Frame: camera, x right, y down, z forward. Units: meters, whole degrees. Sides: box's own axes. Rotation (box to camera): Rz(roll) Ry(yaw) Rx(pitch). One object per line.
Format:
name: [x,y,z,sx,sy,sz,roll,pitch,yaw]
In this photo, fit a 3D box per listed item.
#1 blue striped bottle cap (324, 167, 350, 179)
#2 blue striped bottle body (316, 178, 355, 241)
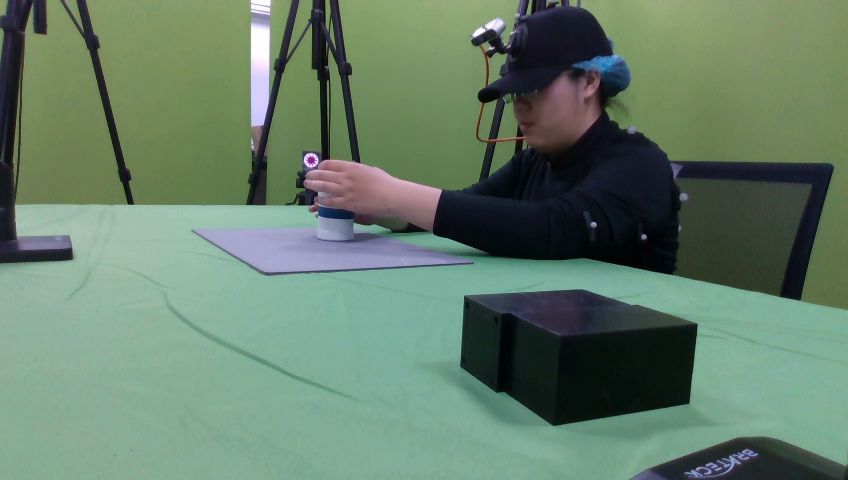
blue striped bottle cap: [-0.146,-0.113,1.016,0.044,0.020,0.044,3,4,0]
blue striped bottle body: [-0.149,-0.061,1.024,0.063,0.120,0.063,3,7,0]
